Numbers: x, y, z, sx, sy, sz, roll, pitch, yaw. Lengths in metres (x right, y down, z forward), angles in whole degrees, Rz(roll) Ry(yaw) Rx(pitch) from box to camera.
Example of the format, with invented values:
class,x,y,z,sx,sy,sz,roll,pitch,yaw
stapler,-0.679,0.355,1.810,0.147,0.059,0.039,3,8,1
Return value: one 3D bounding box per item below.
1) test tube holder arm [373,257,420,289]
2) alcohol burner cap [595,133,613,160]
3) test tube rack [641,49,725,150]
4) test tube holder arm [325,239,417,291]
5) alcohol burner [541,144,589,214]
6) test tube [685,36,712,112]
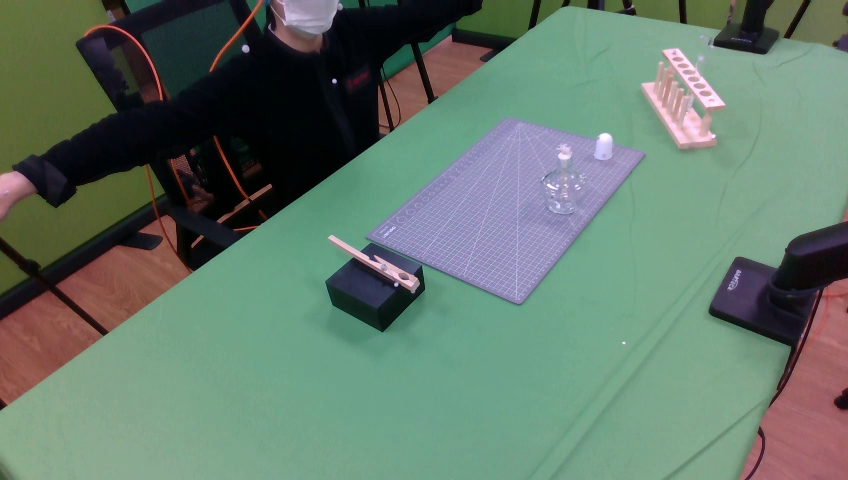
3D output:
class,x,y,z,sx,sy,sz,roll,pitch,yaw
test tube holder arm,-0.042,0.046,0.854,0.087,0.015,0.010,24,50,33
alcohol burner cap,0.330,-0.172,1.104,0.034,0.048,0.033,-5,41,5
test tube rack,0.495,-0.279,1.175,0.067,0.085,0.241,-5,41,3
test tube holder arm,-0.080,0.034,0.875,0.177,0.015,0.013,22,50,32
alcohol burner,0.229,-0.102,0.983,0.078,0.119,0.077,-6,41,5
test tube,0.509,-0.307,1.129,0.017,0.151,0.017,-1,43,2
